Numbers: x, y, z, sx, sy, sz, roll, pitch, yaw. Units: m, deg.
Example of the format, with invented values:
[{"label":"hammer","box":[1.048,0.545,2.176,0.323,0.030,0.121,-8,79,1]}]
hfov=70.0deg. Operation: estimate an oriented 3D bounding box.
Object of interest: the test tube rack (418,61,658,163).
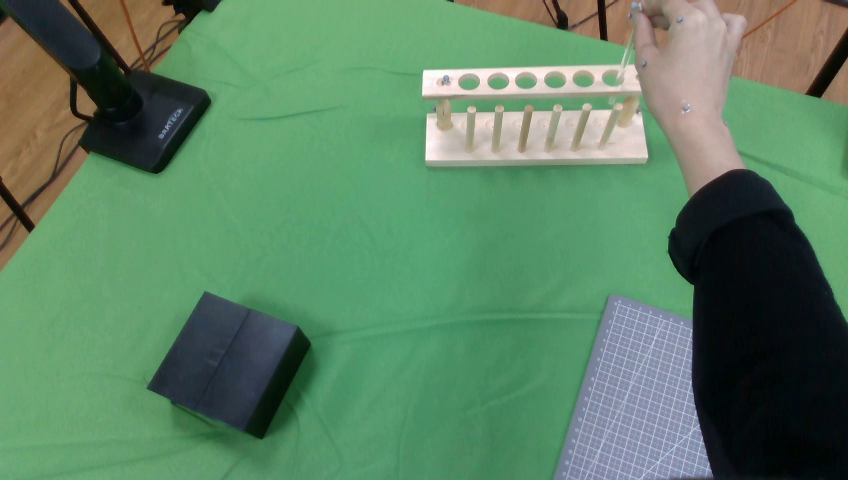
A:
[{"label":"test tube rack","box":[0.117,-0.135,0.651,0.242,0.086,0.066,0,64,3]}]

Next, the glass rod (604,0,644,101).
[{"label":"glass rod","box":[0.185,-0.182,0.556,0.008,0.201,0.008,-2,72,6]}]
